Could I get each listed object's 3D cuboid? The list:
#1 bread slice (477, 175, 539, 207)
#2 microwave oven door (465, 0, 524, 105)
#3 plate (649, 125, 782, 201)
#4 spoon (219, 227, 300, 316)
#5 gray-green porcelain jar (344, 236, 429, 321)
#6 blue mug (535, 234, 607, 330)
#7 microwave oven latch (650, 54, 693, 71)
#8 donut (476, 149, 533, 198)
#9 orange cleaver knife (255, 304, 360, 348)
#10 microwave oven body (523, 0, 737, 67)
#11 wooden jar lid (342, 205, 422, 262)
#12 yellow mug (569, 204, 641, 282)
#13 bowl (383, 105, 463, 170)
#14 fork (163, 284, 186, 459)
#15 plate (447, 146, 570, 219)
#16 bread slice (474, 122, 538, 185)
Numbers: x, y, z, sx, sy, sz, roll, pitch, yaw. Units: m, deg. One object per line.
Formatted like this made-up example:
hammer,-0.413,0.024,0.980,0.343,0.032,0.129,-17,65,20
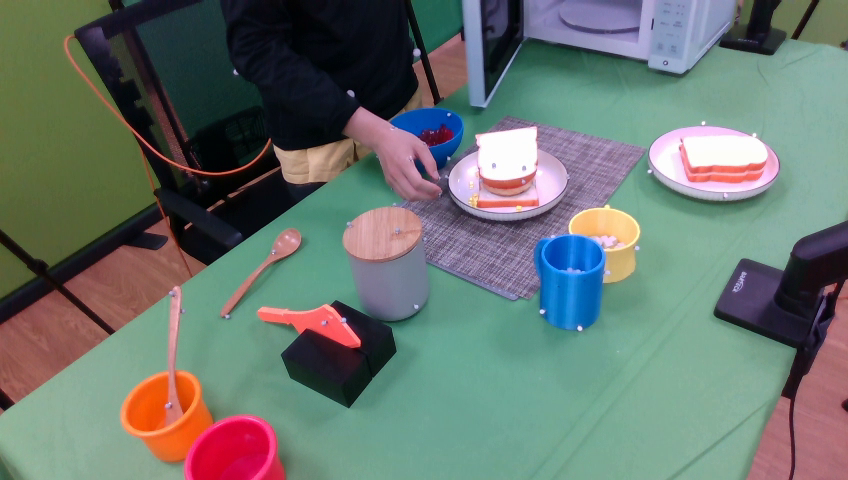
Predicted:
bread slice,0.144,-0.105,1.058,0.105,0.019,0.131,-1,43,6
microwave oven door,0.161,-0.490,1.320,0.039,0.245,0.355,9,44,19
plate,0.493,-0.128,1.036,0.207,0.039,0.206,-4,41,4
spoon,-0.261,0.046,0.954,0.041,0.021,0.194,26,48,11
gray-green porcelain jar,-0.049,0.042,0.849,0.106,0.127,0.105,-4,41,4
blue mug,0.190,0.048,0.824,0.082,0.106,0.115,-26,44,-21
microwave oven latch,0.531,-0.386,1.301,0.078,0.029,0.030,26,51,33
donut,0.138,-0.115,1.025,0.099,0.048,0.098,-8,60,16
orange cleaver knife,-0.161,0.115,0.813,0.210,0.077,0.012,-4,32,46
microwave oven body,0.475,-0.602,1.411,0.438,0.261,0.327,23,50,32
wooden jar lid,-0.055,-0.006,0.808,0.108,0.021,0.108,-6,41,6
yellow mug,0.268,-0.005,0.904,0.099,0.064,0.130,7,41,15
bowl,0.002,-0.185,1.143,0.151,0.077,0.150,-4,40,4
fork,-0.302,0.157,0.733,0.028,0.019,0.207,-4,84,16
plate,0.145,-0.098,1.046,0.209,0.038,0.208,-4,40,4
bread slice,0.141,-0.144,1.008,0.107,0.018,0.133,-8,47,8
